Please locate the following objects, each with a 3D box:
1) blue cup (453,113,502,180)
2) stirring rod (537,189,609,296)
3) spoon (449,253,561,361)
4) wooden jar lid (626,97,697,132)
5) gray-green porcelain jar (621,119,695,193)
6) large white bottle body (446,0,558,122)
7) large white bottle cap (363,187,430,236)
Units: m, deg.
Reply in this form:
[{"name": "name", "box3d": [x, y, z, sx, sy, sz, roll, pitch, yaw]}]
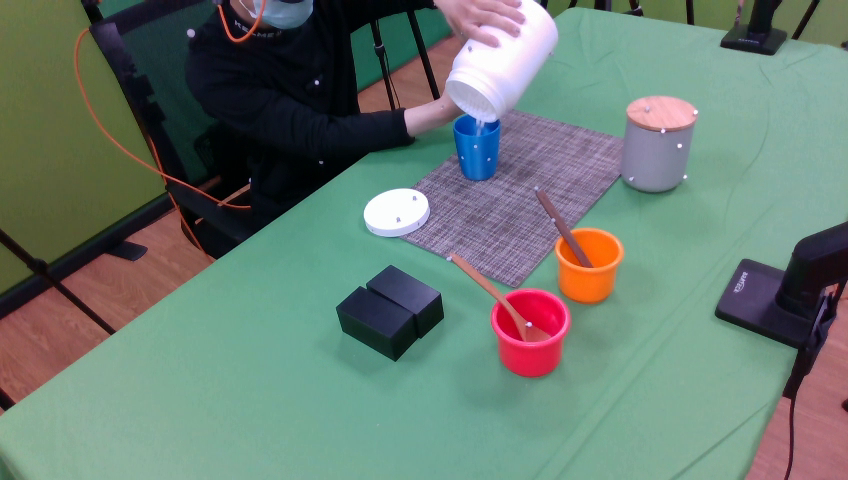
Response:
[{"name": "blue cup", "box3d": [0.097, -0.166, 1.088, 0.092, 0.100, 0.092, -3, 40, 3]}, {"name": "stirring rod", "box3d": [0.211, 0.003, 0.855, 0.014, 0.006, 0.176, -32, 89, -30]}, {"name": "spoon", "box3d": [0.103, 0.083, 0.770, 0.194, 0.021, 0.042, 47, 51, -7]}, {"name": "wooden jar lid", "box3d": [0.382, -0.198, 0.976, 0.108, 0.021, 0.108, -2, 40, 3]}, {"name": "gray-green porcelain jar", "box3d": [0.389, -0.152, 1.016, 0.106, 0.127, 0.105, -4, 40, 4]}, {"name": "large white bottle body", "box3d": [0.131, -0.308, 1.044, 0.129, 0.131, 0.184, 28, 78, 34]}, {"name": "large white bottle cap", "box3d": [-0.048, -0.050, 1.040, 0.115, 0.018, 0.114, -7, 41, 7]}]
